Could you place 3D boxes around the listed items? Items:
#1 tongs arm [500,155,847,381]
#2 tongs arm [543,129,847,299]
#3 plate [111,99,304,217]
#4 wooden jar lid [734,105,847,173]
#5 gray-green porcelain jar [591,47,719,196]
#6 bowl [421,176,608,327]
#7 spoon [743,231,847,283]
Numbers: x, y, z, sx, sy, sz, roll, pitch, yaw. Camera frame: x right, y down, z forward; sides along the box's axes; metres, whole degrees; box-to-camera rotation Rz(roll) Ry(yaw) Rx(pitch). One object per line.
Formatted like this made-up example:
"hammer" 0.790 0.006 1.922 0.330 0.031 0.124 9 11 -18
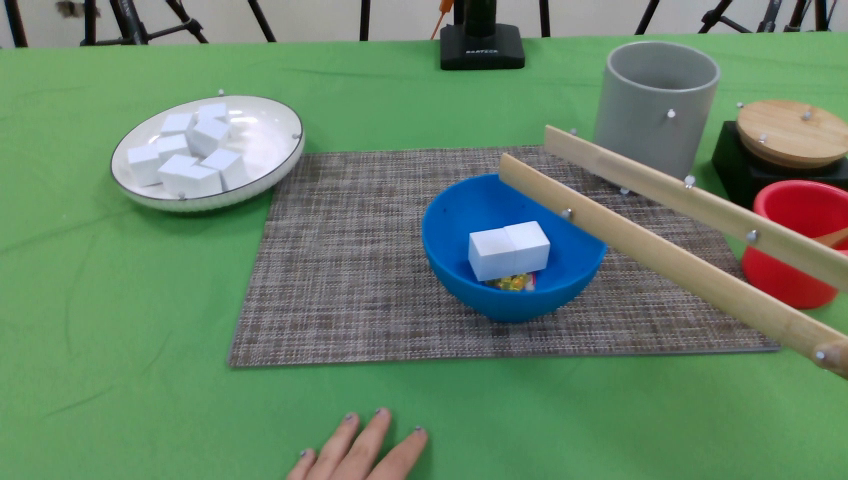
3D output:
"tongs arm" 0.195 0.035 0.351 0.384 0.028 0.028 33 49 32
"tongs arm" 0.218 0.019 0.366 0.381 0.027 0.051 32 52 31
"plate" -0.236 -0.091 0.680 0.209 0.038 0.207 -2 42 2
"wooden jar lid" 0.370 -0.102 0.612 0.108 0.021 0.107 -2 42 2
"gray-green porcelain jar" 0.229 -0.116 0.622 0.106 0.127 0.105 -1 43 1
"bowl" 0.073 0.021 0.514 0.151 0.077 0.150 -1 42 1
"spoon" 0.360 -0.006 0.490 0.022 0.193 0.041 42 42 -20
